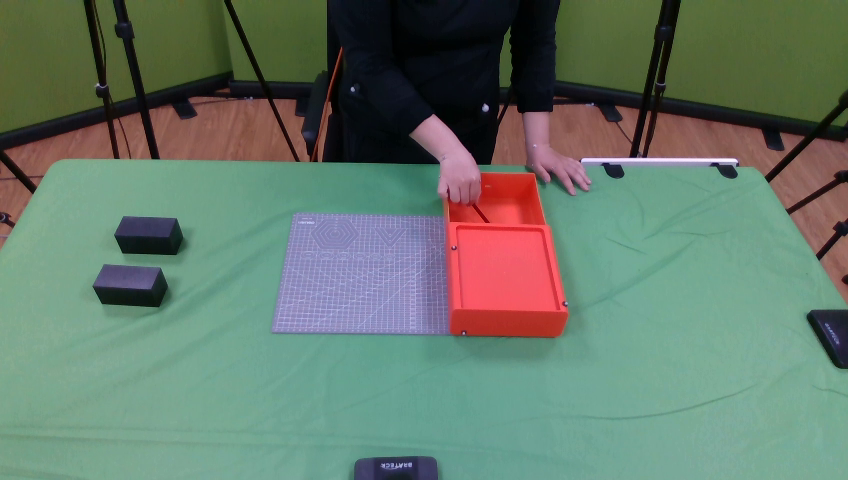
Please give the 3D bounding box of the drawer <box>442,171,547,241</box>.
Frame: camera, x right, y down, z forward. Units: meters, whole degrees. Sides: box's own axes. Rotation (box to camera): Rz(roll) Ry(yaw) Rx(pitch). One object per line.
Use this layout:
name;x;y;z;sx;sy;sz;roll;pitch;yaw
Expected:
drawer;0.138;-0.048;1.214;0.195;0.073;0.210;2;43;-4

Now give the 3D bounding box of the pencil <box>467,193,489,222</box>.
pencil;0.133;-0.025;1.209;0.012;0.012;0.193;-19;58;-21

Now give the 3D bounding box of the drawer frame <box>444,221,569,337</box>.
drawer frame;0.141;0.067;1.097;0.202;0.083;0.212;2;46;-4
